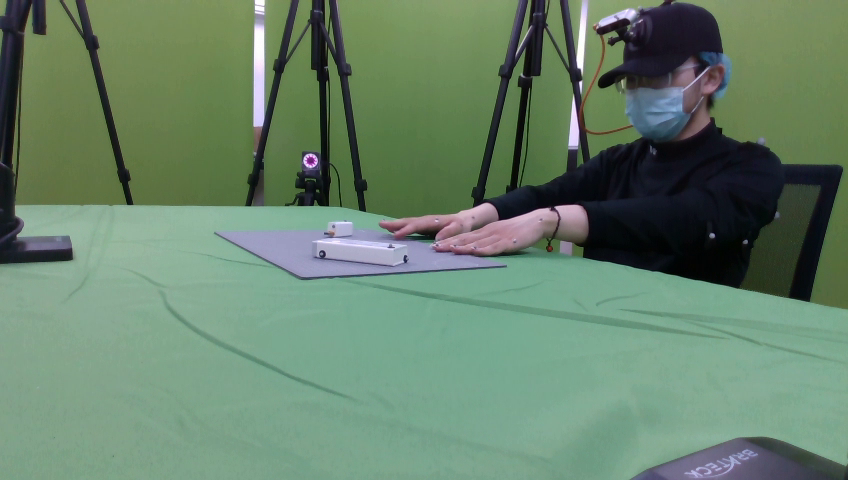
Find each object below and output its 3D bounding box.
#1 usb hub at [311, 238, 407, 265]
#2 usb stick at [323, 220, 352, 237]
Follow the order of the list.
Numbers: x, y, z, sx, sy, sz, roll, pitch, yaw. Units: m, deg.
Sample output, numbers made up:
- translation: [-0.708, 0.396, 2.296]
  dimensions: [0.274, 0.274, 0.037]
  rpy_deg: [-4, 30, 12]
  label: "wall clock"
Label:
- translation: [-0.089, 0.014, 0.828]
  dimensions: [0.125, 0.025, 0.050]
  rpy_deg: [5, 8, 21]
  label: "usb hub"
- translation: [-0.154, -0.020, 1.072]
  dimensions: [0.021, 0.027, 0.059]
  rpy_deg: [10, 13, 35]
  label: "usb stick"
